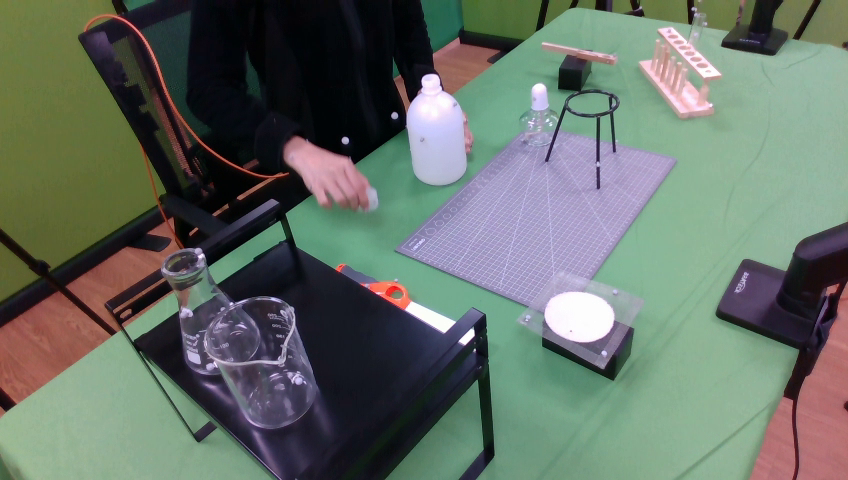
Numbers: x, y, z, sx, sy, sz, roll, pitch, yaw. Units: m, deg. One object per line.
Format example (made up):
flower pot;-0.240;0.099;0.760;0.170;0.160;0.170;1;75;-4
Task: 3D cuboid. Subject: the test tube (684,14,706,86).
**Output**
test tube;0.540;-0.378;1.215;0.017;0.151;0.017;-2;44;3

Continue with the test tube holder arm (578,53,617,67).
test tube holder arm;0.376;-0.393;1.314;0.087;0.015;0.010;26;51;32

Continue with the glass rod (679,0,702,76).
glass rod;0.543;-0.417;1.233;0.008;0.200;0.008;1;40;0

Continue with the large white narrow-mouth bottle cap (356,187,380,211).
large white narrow-mouth bottle cap;-0.088;-0.065;0.956;0.038;0.024;0.037;-4;40;4

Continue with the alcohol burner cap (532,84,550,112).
alcohol burner cap;0.218;-0.268;1.133;0.034;0.048;0.033;-8;36;7

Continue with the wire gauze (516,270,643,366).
wire gauze;0.200;0.093;0.777;0.124;0.011;0.122;23;49;32

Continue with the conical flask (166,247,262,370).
conical flask;-0.209;0.064;0.584;0.075;0.122;0.075;-5;40;4

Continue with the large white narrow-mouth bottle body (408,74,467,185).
large white narrow-mouth bottle body;0.023;-0.201;1.082;0.102;0.195;0.101;-4;40;4

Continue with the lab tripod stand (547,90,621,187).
lab tripod stand;0.288;-0.184;1.062;0.148;0.132;0.147;-6;41;6

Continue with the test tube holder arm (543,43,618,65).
test tube holder arm;0.344;-0.413;1.340;0.177;0.015;0.013;25;51;31

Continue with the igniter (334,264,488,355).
igniter;-0.030;0.095;0.871;0.274;0.025;0.057;22;59;31

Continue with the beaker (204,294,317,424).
beaker;-0.137;0.110;0.536;0.083;0.101;0.074;30;53;35

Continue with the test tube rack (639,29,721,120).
test tube rack;0.527;-0.351;1.262;0.067;0.085;0.241;-7;40;1

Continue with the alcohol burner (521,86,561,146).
alcohol burner;0.223;-0.241;1.155;0.078;0.119;0.077;-5;43;5
